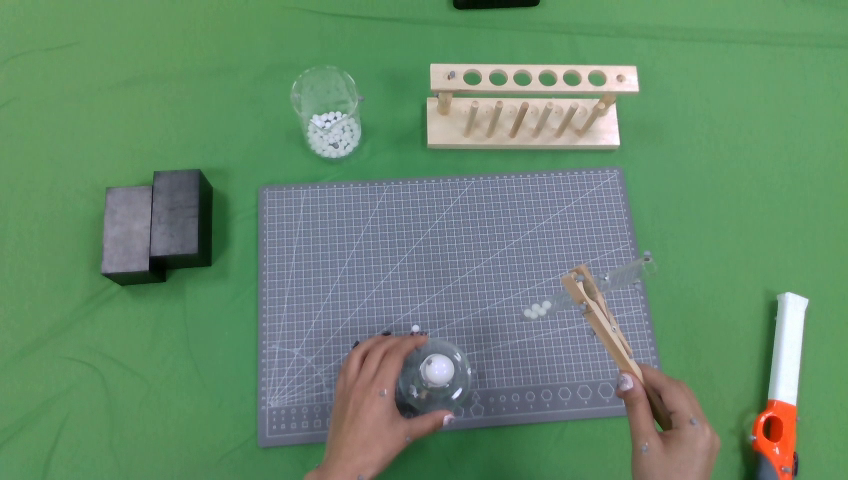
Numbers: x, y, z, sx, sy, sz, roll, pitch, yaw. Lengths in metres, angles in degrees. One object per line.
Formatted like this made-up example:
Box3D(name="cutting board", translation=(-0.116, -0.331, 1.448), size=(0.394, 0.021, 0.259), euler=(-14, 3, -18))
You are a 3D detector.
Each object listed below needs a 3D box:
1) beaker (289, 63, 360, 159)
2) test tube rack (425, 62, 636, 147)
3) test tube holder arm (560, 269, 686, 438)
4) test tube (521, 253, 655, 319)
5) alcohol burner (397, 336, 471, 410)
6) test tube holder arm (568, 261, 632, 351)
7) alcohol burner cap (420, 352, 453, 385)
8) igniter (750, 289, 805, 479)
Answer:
Box3D(name="beaker", translation=(-0.113, -0.144, 0.710), size=(0.074, 0.101, 0.083), euler=(-1, 73, -3))
Box3D(name="test tube rack", translation=(0.124, -0.162, 0.737), size=(0.242, 0.085, 0.066), euler=(0, 73, -3))
Box3D(name="test tube holder arm", translation=(0.171, 0.099, 0.517), size=(0.013, 0.015, 0.179), euler=(-40, 98, -37))
Box3D(name="test tube", translation=(0.132, 0.043, 0.515), size=(0.017, 0.150, 0.017), euler=(13, 63, -27))
Box3D(name="alcohol burner", translation=(0.012, 0.134, 0.621), size=(0.078, 0.119, 0.077), euler=(2, 71, -5))
Box3D(name="test tube holder arm", translation=(0.150, 0.059, 0.516), size=(0.010, 0.015, 0.088), euler=(-31, 92, -38))
Box3D(name="alcohol burner cap", translation=(0.013, 0.124, 0.586), size=(0.034, 0.048, 0.033), euler=(1, 77, -3))
Box3D(name="igniter", translation=(0.394, 0.188, 0.674), size=(0.057, 0.025, 0.275), euler=(20, 73, -7))
